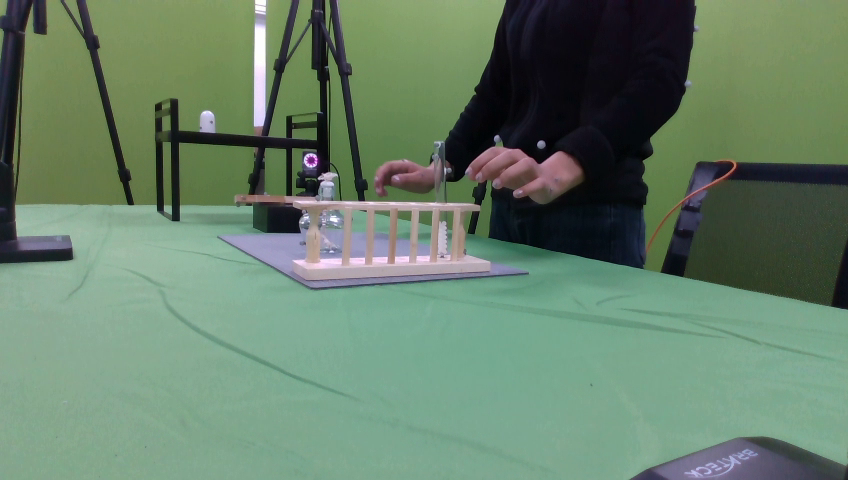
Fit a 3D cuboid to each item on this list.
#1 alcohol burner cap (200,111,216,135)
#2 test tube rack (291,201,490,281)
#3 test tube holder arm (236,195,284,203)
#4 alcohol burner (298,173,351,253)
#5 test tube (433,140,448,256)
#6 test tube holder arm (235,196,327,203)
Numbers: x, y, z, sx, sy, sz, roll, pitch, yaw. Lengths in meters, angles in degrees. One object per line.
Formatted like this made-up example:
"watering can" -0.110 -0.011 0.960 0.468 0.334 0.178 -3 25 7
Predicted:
"alcohol burner cap" -0.448 -0.243 1.255 0.034 0.048 0.034 2 7 0
"test tube rack" -0.035 -0.002 0.745 0.243 0.085 0.066 -1 8 -28
"test tube holder arm" -0.304 -0.075 1.123 0.088 0.015 0.010 -2 4 -33
"alcohol burner" -0.146 -0.040 0.894 0.078 0.119 0.078 5 7 0
"test tube" 0.021 -0.054 0.785 0.017 0.150 0.017 -2 8 1
"test tube holder arm" -0.270 -0.077 1.153 0.179 0.015 0.013 -2 4 -34
